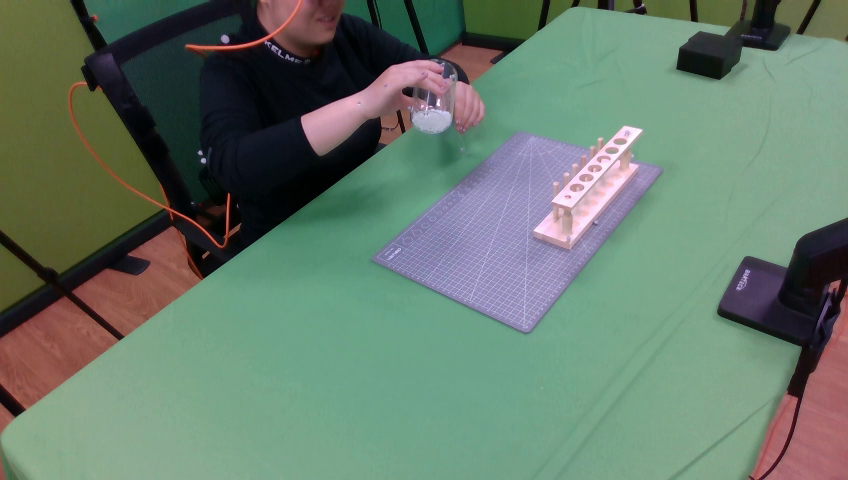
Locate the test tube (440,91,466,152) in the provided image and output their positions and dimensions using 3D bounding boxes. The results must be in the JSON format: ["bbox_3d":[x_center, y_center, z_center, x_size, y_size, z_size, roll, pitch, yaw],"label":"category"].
[{"bbox_3d":[0.055,-0.214,1.109,0.017,0.151,0.017,-8,55,12],"label":"test tube"}]

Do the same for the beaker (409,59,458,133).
[{"bbox_3d":[0.016,-0.232,0.995,0.073,0.084,0.100,-6,60,23],"label":"beaker"}]

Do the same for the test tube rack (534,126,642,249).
[{"bbox_3d":[0.271,-0.095,0.990,0.066,0.085,0.243,23,49,33],"label":"test tube rack"}]
